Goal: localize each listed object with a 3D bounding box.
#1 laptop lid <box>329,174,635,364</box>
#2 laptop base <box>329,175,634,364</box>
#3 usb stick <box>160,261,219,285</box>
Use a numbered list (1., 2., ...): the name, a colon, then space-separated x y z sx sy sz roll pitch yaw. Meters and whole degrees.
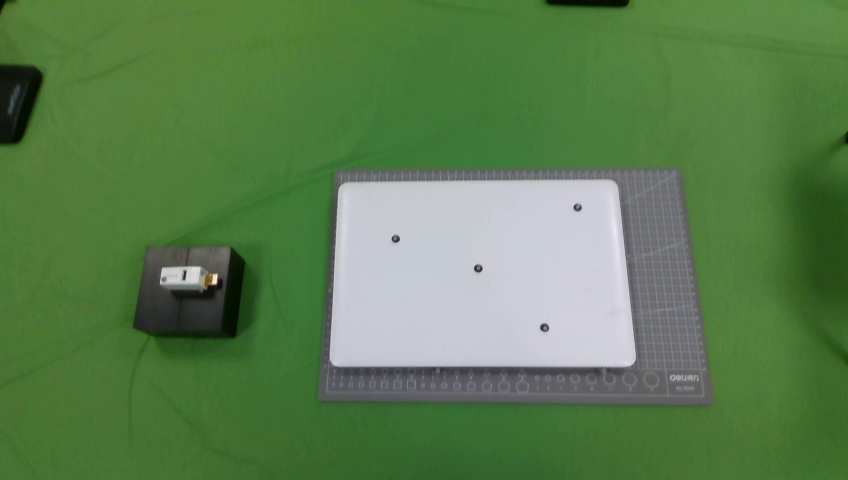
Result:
1. laptop lid: 0.066 0.030 0.725 0.357 0.013 0.240 1 73 2
2. laptop base: 0.066 0.032 0.737 0.354 0.023 0.234 0 74 1
3. usb stick: -0.264 0.038 0.686 0.059 0.027 0.021 1 69 -1
